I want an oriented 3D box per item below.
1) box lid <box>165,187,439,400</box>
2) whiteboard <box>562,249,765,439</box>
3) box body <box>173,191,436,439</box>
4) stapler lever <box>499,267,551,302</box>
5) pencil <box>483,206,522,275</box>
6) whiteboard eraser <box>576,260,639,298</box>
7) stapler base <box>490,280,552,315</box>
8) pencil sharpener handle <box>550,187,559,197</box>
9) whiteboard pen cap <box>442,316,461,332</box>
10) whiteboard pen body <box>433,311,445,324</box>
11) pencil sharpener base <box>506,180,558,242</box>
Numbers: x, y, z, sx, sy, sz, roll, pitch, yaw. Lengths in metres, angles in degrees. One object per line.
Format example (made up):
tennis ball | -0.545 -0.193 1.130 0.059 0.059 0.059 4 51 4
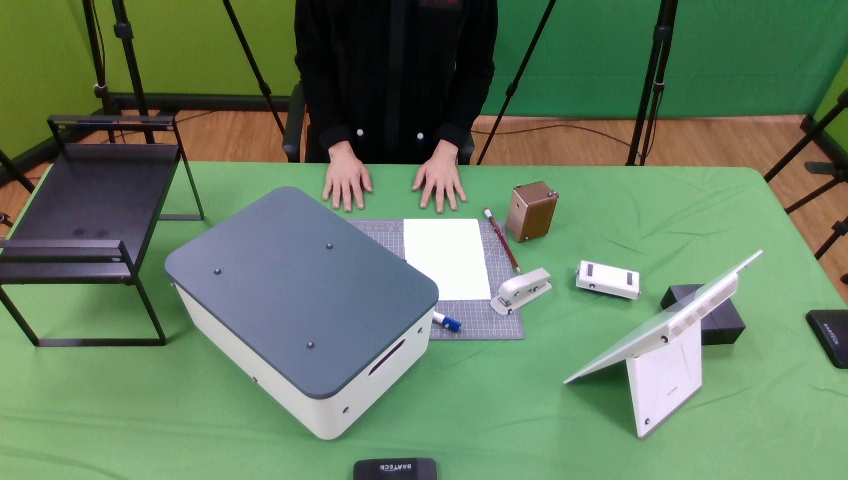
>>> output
box lid | -0.186 0.060 0.925 0.370 0.015 0.263 32 53 25
whiteboard | 0.386 0.176 0.905 0.217 0.306 0.143 -26 72 -26
box body | -0.191 0.110 0.979 0.362 0.161 0.254 33 53 24
stapler lever | 0.185 0.076 1.101 0.118 0.040 0.026 -25 57 -29
pencil | 0.158 -0.001 1.218 0.012 0.012 0.192 -11 48 -14
whiteboard eraser | 0.344 0.075 1.138 0.112 0.042 0.055 12 44 8
stapler base | 0.181 0.094 1.118 0.130 0.024 0.041 -24 57 -29
pencil sharpener handle | 0.261 -0.084 1.221 0.031 0.068 0.036 -16 66 -19
whiteboard pen cap | 0.048 0.146 1.059 0.033 0.018 0.018 24 49 15
whiteboard pen body | -0.004 0.123 1.074 0.140 0.017 0.017 24 49 15
pencil sharpener base | 0.216 -0.058 1.211 0.077 0.107 0.061 -16 49 -19
